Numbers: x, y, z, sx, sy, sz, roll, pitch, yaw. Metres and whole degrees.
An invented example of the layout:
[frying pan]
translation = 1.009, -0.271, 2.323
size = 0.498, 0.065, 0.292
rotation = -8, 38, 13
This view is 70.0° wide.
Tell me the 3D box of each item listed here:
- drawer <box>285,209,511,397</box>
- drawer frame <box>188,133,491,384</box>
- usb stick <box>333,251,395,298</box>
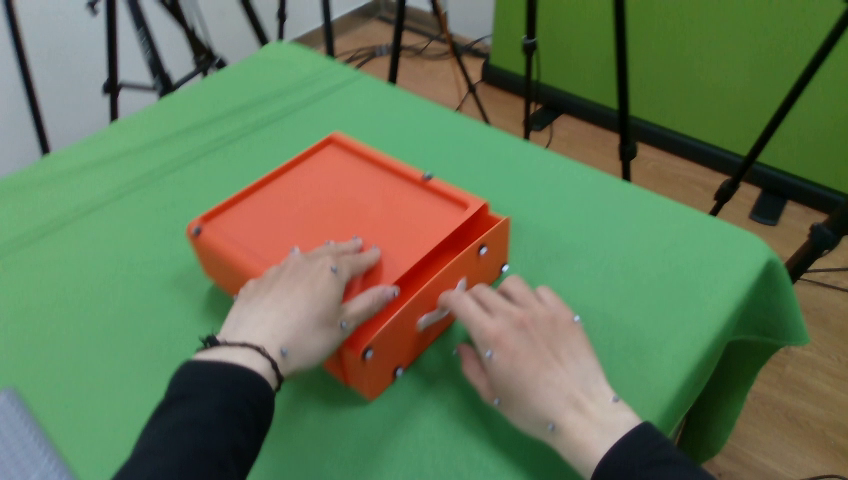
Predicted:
[drawer]
translation = -0.056, 0.016, 0.576
size = 0.210, 0.074, 0.194
rotation = 28, 54, 32
[drawer frame]
translation = -0.077, 0.003, 0.588
size = 0.211, 0.083, 0.201
rotation = 27, 53, 31
[usb stick]
translation = -0.056, 0.030, 0.587
size = 0.059, 0.027, 0.021
rotation = -26, 47, -20
